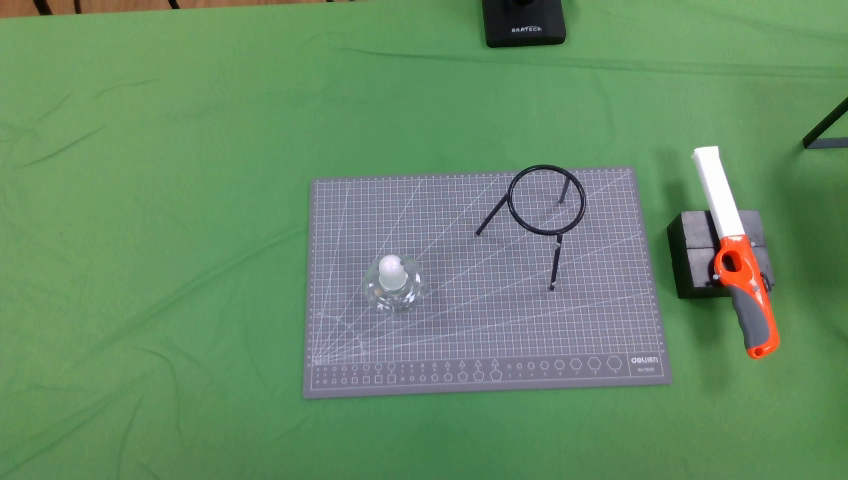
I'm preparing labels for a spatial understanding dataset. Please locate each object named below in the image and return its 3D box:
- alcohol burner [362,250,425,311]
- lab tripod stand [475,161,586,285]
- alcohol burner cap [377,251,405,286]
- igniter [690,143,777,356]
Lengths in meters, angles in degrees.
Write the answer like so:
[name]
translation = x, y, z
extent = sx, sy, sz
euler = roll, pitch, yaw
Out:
[alcohol burner]
translation = -0.038, 0.044, 0.726
extent = 0.078, 0.120, 0.077
euler = 0, 71, 1
[lab tripod stand]
translation = 0.140, -0.031, 0.744
extent = 0.148, 0.132, 0.147
euler = 0, 68, 1
[alcohol burner cap]
translation = -0.039, 0.030, 0.693
extent = 0.034, 0.048, 0.033
euler = 0, 63, 0
[igniter]
translation = 0.376, 0.004, 0.741
extent = 0.057, 0.025, 0.274
euler = -5, 67, 1
